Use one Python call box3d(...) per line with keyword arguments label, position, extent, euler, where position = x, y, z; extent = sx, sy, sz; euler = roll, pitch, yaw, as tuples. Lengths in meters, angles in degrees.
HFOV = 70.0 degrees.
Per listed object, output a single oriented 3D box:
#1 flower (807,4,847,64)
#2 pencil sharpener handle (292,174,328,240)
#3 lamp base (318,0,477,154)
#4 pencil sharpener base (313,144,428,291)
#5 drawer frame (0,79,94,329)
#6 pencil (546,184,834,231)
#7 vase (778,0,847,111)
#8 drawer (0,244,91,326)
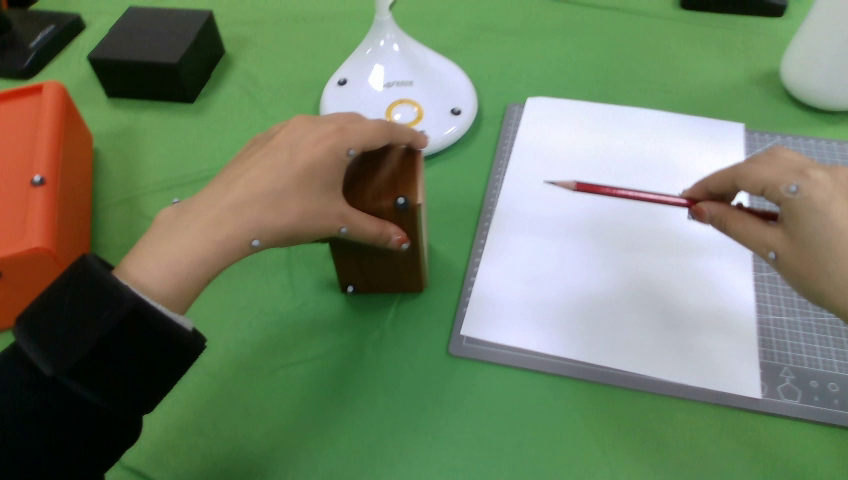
box3d(label="flower", position=(0.391, -0.256, 0.475), extent=(0.038, 0.364, 0.043), euler=(-34, 69, -7))
box3d(label="pencil sharpener handle", position=(-0.089, -0.020, 0.450), extent=(0.030, 0.068, 0.035), euler=(-3, 58, 1))
box3d(label="lamp base", position=(-0.033, -0.198, 0.564), extent=(0.161, 0.182, 0.177), euler=(-15, 49, -10))
box3d(label="pencil sharpener base", position=(-0.037, -0.013, 0.458), extent=(0.077, 0.108, 0.061), euler=(-3, 51, 1))
box3d(label="drawer frame", position=(-0.388, -0.022, 0.495), extent=(0.202, 0.083, 0.211), euler=(-17, 51, -10))
box3d(label="pencil", position=(0.178, -0.023, 0.407), extent=(0.194, 0.012, 0.012), euler=(8, 51, -1))
box3d(label="vase", position=(0.405, -0.218, 0.551), extent=(0.098, 0.202, 0.097), euler=(-2, 49, 2))
box3d(label="drawer", position=(-0.385, -0.019, 0.495), extent=(0.195, 0.074, 0.209), euler=(-16, 51, -10))
